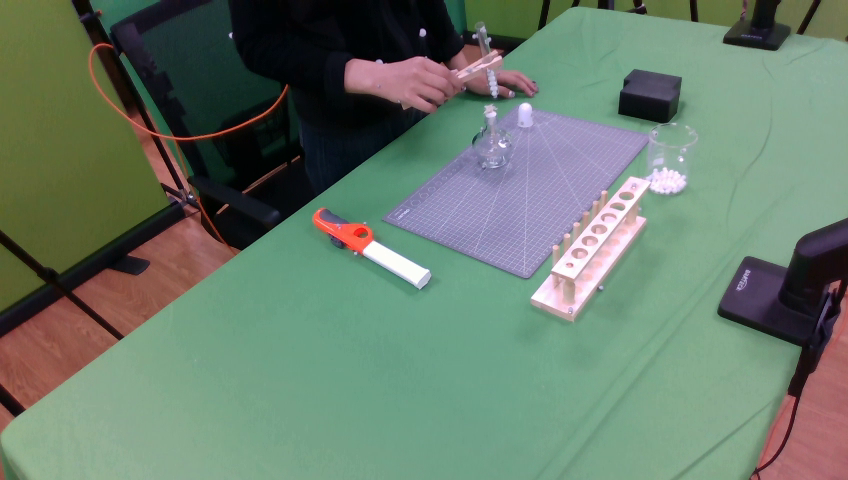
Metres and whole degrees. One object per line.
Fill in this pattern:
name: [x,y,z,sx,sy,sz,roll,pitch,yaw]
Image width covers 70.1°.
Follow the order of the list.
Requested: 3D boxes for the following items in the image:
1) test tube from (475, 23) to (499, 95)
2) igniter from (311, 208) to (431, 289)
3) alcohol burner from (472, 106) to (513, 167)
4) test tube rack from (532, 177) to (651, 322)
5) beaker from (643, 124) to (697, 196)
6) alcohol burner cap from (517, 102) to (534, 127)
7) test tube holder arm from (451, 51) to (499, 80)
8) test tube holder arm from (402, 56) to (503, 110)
test tube: [0.104,-0.290,0.982,0.017,0.151,0.017,-8,58,13]
igniter: [-0.096,0.008,0.986,0.274,0.025,0.057,28,62,36]
alcohol burner: [0.125,-0.195,1.111,0.078,0.119,0.077,-5,42,5]
test tube rack: [0.247,0.002,0.883,0.066,0.085,0.243,22,49,32]
beaker: [0.407,-0.132,1.001,0.084,0.101,0.073,-20,42,-13]
alcohol burner cap: [0.205,-0.255,1.223,0.034,0.048,0.033,-6,40,5]
test tube holder arm: [0.083,-0.281,0.987,0.088,0.015,0.010,-32,53,-4]
test tube holder arm: [0.046,-0.256,0.983,0.178,0.015,0.013,-26,52,0]
